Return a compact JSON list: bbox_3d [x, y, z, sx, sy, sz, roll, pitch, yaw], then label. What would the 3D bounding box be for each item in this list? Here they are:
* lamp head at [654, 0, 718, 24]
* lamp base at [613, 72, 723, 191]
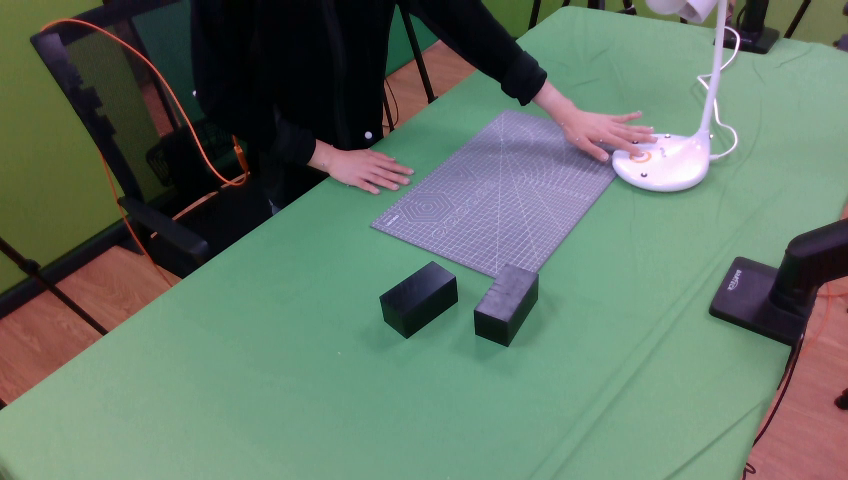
[{"bbox_3d":[0.356,-0.361,0.788,0.123,0.113,0.111,-51,42,13],"label":"lamp head"},{"bbox_3d":[0.423,-0.198,1.020,0.179,0.181,0.159,-6,42,-3],"label":"lamp base"}]
